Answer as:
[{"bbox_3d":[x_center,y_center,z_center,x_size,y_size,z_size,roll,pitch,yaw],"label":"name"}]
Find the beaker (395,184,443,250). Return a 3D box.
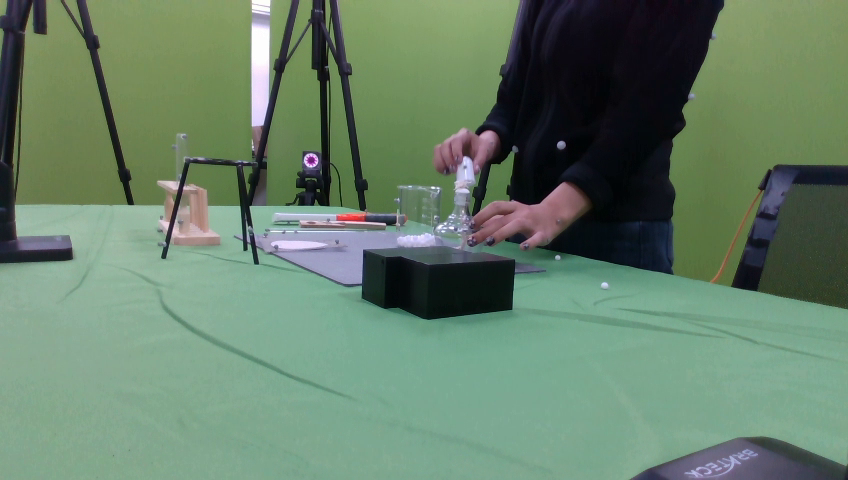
[{"bbox_3d":[-0.007,-0.037,0.965,0.074,0.100,0.083,-4,10,-40],"label":"beaker"}]

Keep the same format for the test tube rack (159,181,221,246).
[{"bbox_3d":[-0.395,-0.050,1.010,0.067,0.085,0.241,-2,9,-28],"label":"test tube rack"}]

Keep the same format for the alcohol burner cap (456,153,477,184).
[{"bbox_3d":[0.066,-0.115,0.960,0.034,0.048,0.034,-6,-13,-1],"label":"alcohol burner cap"}]

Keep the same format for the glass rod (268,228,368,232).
[{"bbox_3d":[-0.193,-0.018,1.128,0.201,0.008,0.008,0,7,-35],"label":"glass rod"}]

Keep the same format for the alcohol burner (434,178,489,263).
[{"bbox_3d":[0.054,-0.028,0.851,0.078,0.119,0.078,3,9,0],"label":"alcohol burner"}]

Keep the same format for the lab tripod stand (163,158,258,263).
[{"bbox_3d":[-0.265,-0.041,0.802,0.148,0.131,0.148,4,6,0],"label":"lab tripod stand"}]

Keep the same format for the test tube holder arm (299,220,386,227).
[{"bbox_3d":[-0.158,-0.032,1.196,0.179,0.015,0.013,-2,44,-29],"label":"test tube holder arm"}]

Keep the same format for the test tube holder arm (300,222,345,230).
[{"bbox_3d":[-0.196,-0.027,1.170,0.088,0.015,0.010,-1,43,-29],"label":"test tube holder arm"}]

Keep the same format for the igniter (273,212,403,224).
[{"bbox_3d":[-0.179,-0.048,1.290,0.278,0.025,0.057,-1,-2,-24],"label":"igniter"}]

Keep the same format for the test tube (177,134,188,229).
[{"bbox_3d":[-0.374,-0.089,0.938,0.017,0.150,0.017,2,4,0],"label":"test tube"}]

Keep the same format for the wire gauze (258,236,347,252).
[{"bbox_3d":[-0.189,0.005,0.931,0.122,0.011,0.124,1,7,-21],"label":"wire gauze"}]
